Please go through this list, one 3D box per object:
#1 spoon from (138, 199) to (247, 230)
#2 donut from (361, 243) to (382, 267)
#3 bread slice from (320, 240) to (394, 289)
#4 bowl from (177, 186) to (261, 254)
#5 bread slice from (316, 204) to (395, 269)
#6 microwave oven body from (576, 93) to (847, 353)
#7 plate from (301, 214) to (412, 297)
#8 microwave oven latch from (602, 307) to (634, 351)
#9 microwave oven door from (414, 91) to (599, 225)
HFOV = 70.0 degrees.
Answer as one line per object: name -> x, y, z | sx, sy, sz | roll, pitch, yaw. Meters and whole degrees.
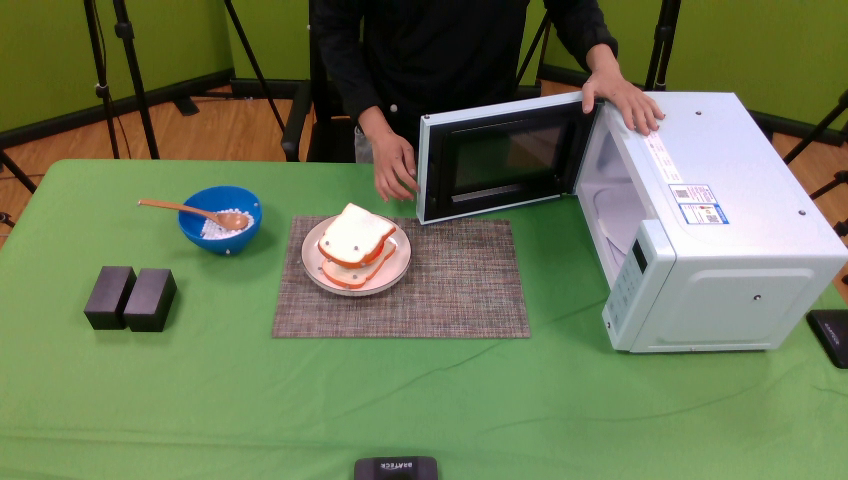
spoon -> -0.431, -0.053, 1.135 | 0.194, 0.022, 0.041 | 15, 48, -21
donut -> -0.126, 0.011, 1.127 | 0.099, 0.048, 0.098 | 3, 44, -3
bread slice -> -0.129, 0.036, 1.140 | 0.107, 0.018, 0.134 | 19, 48, 14
bowl -> -0.383, -0.026, 1.158 | 0.151, 0.077, 0.150 | 2, 46, -2
bread slice -> -0.128, -0.005, 1.100 | 0.104, 0.019, 0.131 | 27, 52, 12
microwave oven body -> 0.475, -0.041, 1.109 | 0.326, 0.261, 0.438 | -1, 45, -4
plate -> -0.127, 0.031, 1.145 | 0.208, 0.039, 0.206 | 2, 46, -2
microwave oven latch -> 0.332, 0.153, 1.044 | 0.030, 0.029, 0.078 | -1, 45, -4
microwave oven door -> 0.158, -0.161, 1.195 | 0.356, 0.245, 0.039 | -12, 48, -16
